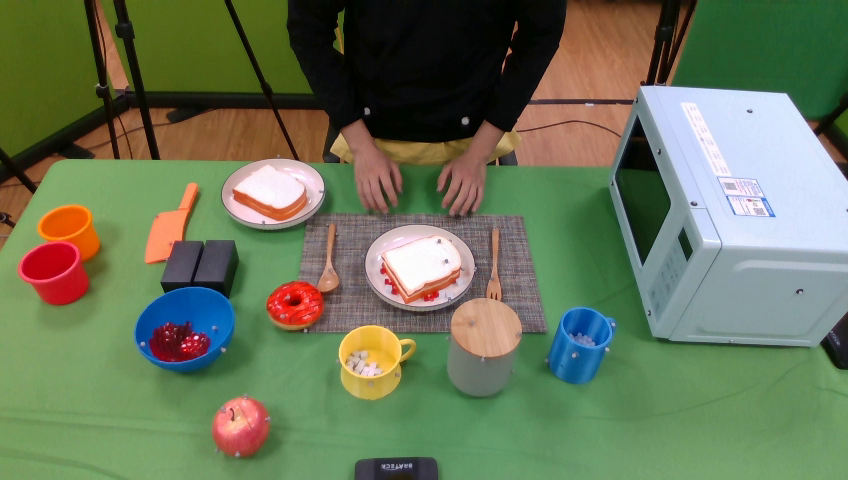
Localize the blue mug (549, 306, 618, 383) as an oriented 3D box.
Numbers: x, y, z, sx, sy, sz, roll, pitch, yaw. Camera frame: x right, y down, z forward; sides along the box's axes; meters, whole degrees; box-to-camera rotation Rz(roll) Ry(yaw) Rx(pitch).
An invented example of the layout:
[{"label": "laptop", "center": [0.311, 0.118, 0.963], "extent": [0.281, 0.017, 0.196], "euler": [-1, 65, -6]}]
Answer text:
[{"label": "blue mug", "center": [0.269, 0.167, 0.997], "extent": [0.116, 0.106, 0.082], "euler": [-19, 50, -21]}]

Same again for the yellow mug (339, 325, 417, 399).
[{"label": "yellow mug", "center": [-0.072, 0.191, 0.978], "extent": [0.131, 0.064, 0.099], "euler": [-17, 50, -20]}]

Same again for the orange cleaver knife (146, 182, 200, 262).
[{"label": "orange cleaver knife", "center": [-0.494, -0.039, 1.198], "extent": [0.077, 0.012, 0.210], "euler": [-3, 48, 2]}]

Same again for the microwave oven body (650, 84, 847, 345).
[{"label": "microwave oven body", "center": [0.569, -0.054, 1.116], "extent": [0.326, 0.261, 0.439], "euler": [2, 46, -1]}]

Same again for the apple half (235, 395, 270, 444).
[{"label": "apple half", "center": [-0.245, 0.260, 0.893], "extent": [0.033, 0.082, 0.081], "euler": [-29, 55, -22]}]

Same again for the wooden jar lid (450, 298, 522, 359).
[{"label": "wooden jar lid", "center": [0.093, 0.135, 0.914], "extent": [0.108, 0.021, 0.107], "euler": [3, 48, -3]}]

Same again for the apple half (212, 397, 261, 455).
[{"label": "apple half", "center": [-0.276, 0.276, 0.877], "extent": [0.053, 0.075, 0.080], "euler": [-29, 58, -21]}]

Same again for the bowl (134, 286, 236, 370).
[{"label": "bowl", "center": [-0.377, 0.156, 0.981], "extent": [0.151, 0.077, 0.150], "euler": [2, 46, -2]}]

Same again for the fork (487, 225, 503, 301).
[{"label": "fork", "center": [0.138, 0.042, 1.160], "extent": [0.028, 0.019, 0.206], "euler": [1, 48, 7]}]

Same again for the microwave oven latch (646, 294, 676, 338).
[{"label": "microwave oven latch", "center": [0.412, 0.133, 1.060], "extent": [0.030, 0.029, 0.078], "euler": [3, 46, 0]}]

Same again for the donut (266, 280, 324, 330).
[{"label": "donut", "center": [-0.223, 0.112, 1.051], "extent": [0.099, 0.048, 0.098], "euler": [2, 45, -2]}]

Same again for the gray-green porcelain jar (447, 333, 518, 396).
[{"label": "gray-green porcelain jar", "center": [0.091, 0.178, 0.960], "extent": [0.106, 0.127, 0.105], "euler": [2, 46, -2]}]

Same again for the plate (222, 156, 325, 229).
[{"label": "plate", "center": [-0.308, -0.095, 1.251], "extent": [0.209, 0.038, 0.208], "euler": [2, 46, -2]}]

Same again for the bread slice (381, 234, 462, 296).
[{"label": "bread slice", "center": [0.001, 0.038, 1.107], "extent": [0.134, 0.018, 0.106], "euler": [-24, 56, -23]}]

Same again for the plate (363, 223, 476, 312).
[{"label": "plate", "center": [-0.009, 0.054, 1.126], "extent": [0.208, 0.039, 0.206], "euler": [2, 46, -2]}]

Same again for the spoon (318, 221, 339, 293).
[{"label": "spoon", "center": [-0.178, 0.028, 1.149], "extent": [0.041, 0.022, 0.192], "euler": [-16, 46, 11]}]

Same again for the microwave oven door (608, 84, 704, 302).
[{"label": "microwave oven door", "center": [0.424, -0.096, 1.138], "extent": [0.039, 0.245, 0.353], "euler": [3, 46, -1]}]

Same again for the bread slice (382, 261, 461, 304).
[{"label": "bread slice", "center": [0.000, 0.055, 1.129], "extent": [0.131, 0.019, 0.104], "euler": [-22, 51, -21]}]
